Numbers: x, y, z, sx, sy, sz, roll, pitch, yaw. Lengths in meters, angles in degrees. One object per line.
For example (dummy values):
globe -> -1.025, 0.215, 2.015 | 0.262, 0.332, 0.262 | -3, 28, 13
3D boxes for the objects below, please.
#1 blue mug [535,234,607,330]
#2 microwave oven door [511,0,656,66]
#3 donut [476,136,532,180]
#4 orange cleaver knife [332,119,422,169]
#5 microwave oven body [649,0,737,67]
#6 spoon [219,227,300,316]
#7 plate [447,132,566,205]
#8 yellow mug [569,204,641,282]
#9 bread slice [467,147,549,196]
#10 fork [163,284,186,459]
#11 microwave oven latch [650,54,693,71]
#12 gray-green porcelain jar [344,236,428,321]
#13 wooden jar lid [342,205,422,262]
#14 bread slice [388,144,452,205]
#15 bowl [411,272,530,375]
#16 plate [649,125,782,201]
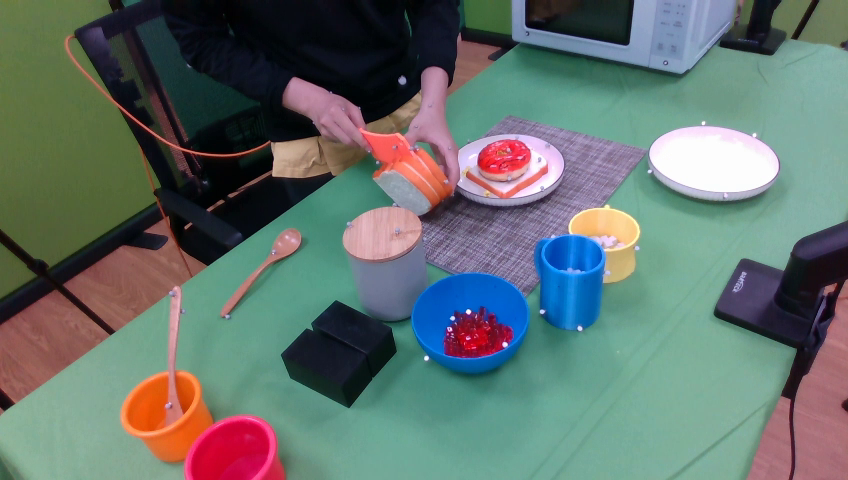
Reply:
blue mug -> 0.191, 0.048, 0.824 | 0.082, 0.106, 0.115 | -26, 44, -20
microwave oven door -> 0.351, -0.540, 1.349 | 0.353, 0.245, 0.039 | 24, 50, 31
donut -> 0.140, -0.146, 1.058 | 0.099, 0.048, 0.098 | -7, 41, 6
orange cleaver knife -> -0.079, -0.158, 0.987 | 0.012, 0.078, 0.209 | -45, 41, -21
microwave oven body -> 0.475, -0.602, 1.411 | 0.438, 0.261, 0.327 | 23, 50, 32
spoon -> -0.261, 0.046, 0.954 | 0.041, 0.021, 0.194 | 27, 48, 10
plate -> 0.146, -0.124, 1.076 | 0.209, 0.038, 0.208 | -4, 41, 4
yellow mug -> 0.268, -0.005, 0.904 | 0.099, 0.064, 0.130 | 7, 41, 15
bread slice -> 0.156, -0.128, 1.085 | 0.132, 0.019, 0.104 | -34, 48, -23
fork -> -0.302, 0.157, 0.733 | 0.028, 0.019, 0.207 | -3, 84, 15
microwave oven latch -> 0.531, -0.386, 1.301 | 0.078, 0.029, 0.030 | 26, 51, 33
gray-green porcelain jar -> -0.049, 0.042, 0.849 | 0.106, 0.127, 0.105 | -4, 41, 4
wooden jar lid -> -0.055, -0.005, 0.808 | 0.108, 0.021, 0.108 | -6, 40, 6
bread slice -> -0.006, -0.105, 0.982 | 0.018, 0.107, 0.133 | -42, 17, -19
bowl -> 0.061, 0.120, 0.780 | 0.151, 0.077, 0.150 | -4, 40, 4
plate -> 0.493, -0.127, 1.036 | 0.207, 0.039, 0.206 | -4, 41, 4
